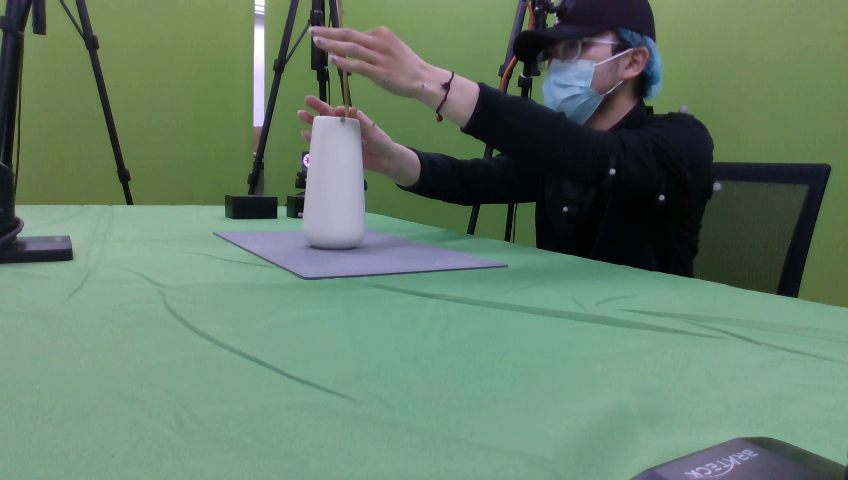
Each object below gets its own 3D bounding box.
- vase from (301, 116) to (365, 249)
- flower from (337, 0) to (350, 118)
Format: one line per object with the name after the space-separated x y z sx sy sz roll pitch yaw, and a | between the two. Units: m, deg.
-0.139 -0.088 0.930 0.098 0.200 0.098 2 9 0 | vase
-0.122 -0.245 0.924 0.038 0.361 0.044 11 21 40 | flower
